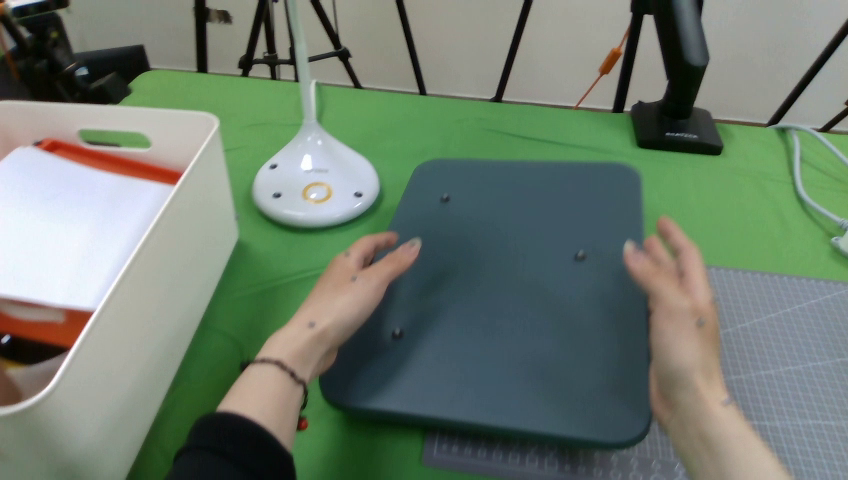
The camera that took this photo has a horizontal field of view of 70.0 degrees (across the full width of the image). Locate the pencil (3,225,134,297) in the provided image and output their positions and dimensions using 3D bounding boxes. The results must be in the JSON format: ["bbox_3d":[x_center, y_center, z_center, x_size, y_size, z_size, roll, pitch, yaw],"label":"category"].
[{"bbox_3d":[-0.342,0.019,0.577,0.193,0.012,0.012,21,45,23],"label":"pencil"}]

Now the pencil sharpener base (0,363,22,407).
[{"bbox_3d":[-0.390,0.118,0.481,0.077,0.108,0.060,-2,41,-3],"label":"pencil sharpener base"}]

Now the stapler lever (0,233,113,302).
[{"bbox_3d":[-0.333,0.019,0.538,0.118,0.040,0.026,23,31,7],"label":"stapler lever"}]

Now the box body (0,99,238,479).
[{"bbox_3d":[-0.343,0.036,0.543,0.254,0.162,0.360,4,41,2],"label":"box body"}]

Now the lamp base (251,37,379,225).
[{"bbox_3d":[-0.140,-0.138,0.735,0.161,0.182,0.177,-10,40,-13],"label":"lamp base"}]

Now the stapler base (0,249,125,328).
[{"bbox_3d":[-0.337,0.038,0.551,0.130,0.024,0.041,22,31,7],"label":"stapler base"}]

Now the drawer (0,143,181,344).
[{"bbox_3d":[-0.321,0.000,0.579,0.195,0.073,0.210,14,33,-6],"label":"drawer"}]

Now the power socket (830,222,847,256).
[{"bbox_3d":[0.578,0.044,0.672,0.072,0.033,0.224,-22,46,-26],"label":"power socket"}]

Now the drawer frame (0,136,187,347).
[{"bbox_3d":[-0.323,-0.002,0.581,0.202,0.083,0.211,14,32,-7],"label":"drawer frame"}]

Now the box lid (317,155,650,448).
[{"bbox_3d":[0.074,0.024,0.580,0.262,0.015,0.369,3,41,15],"label":"box lid"}]
